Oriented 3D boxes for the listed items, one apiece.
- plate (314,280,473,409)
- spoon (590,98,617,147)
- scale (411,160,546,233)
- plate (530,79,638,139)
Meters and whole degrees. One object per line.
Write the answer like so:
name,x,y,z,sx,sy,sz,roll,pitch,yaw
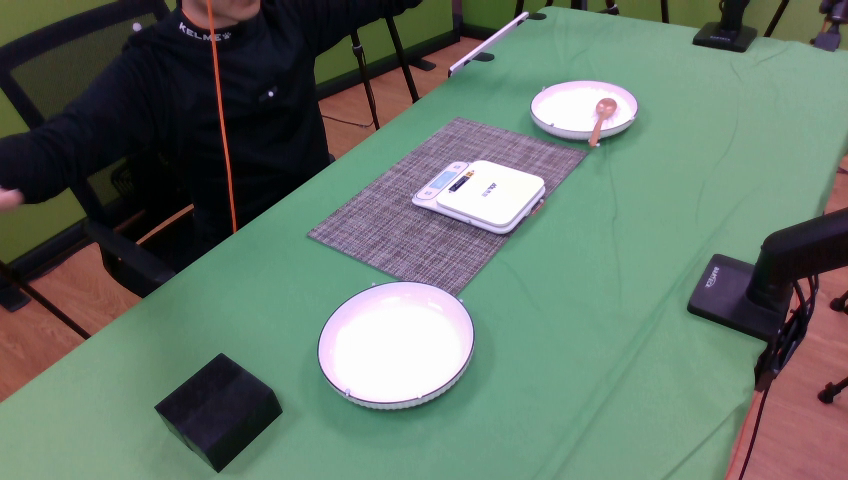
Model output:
plate,-0.039,0.139,0.801,0.207,0.039,0.206,-4,41,4
spoon,0.333,-0.225,1.145,0.041,0.022,0.194,11,37,20
scale,0.092,-0.083,1.039,0.199,0.032,0.149,22,48,30
plate,0.317,-0.257,1.210,0.209,0.038,0.208,-4,41,4
